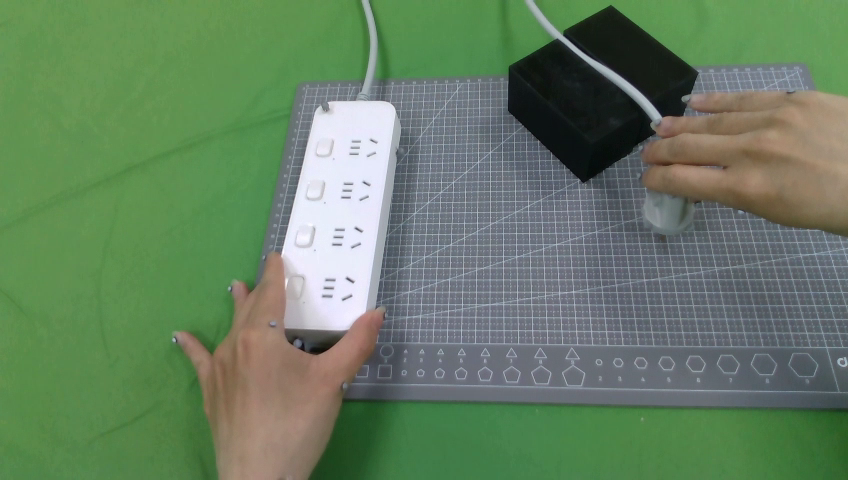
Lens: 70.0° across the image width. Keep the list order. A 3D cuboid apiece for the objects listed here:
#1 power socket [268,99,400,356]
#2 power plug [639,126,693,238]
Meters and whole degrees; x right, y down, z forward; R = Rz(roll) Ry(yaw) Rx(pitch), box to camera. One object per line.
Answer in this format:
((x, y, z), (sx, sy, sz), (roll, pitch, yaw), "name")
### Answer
((-0.064, -0.023, 0.470), (0.072, 0.033, 0.225), (2, 60, 7), "power socket")
((0.180, -0.037, 0.437), (0.035, 0.053, 0.072), (22, 69, 11), "power plug")
